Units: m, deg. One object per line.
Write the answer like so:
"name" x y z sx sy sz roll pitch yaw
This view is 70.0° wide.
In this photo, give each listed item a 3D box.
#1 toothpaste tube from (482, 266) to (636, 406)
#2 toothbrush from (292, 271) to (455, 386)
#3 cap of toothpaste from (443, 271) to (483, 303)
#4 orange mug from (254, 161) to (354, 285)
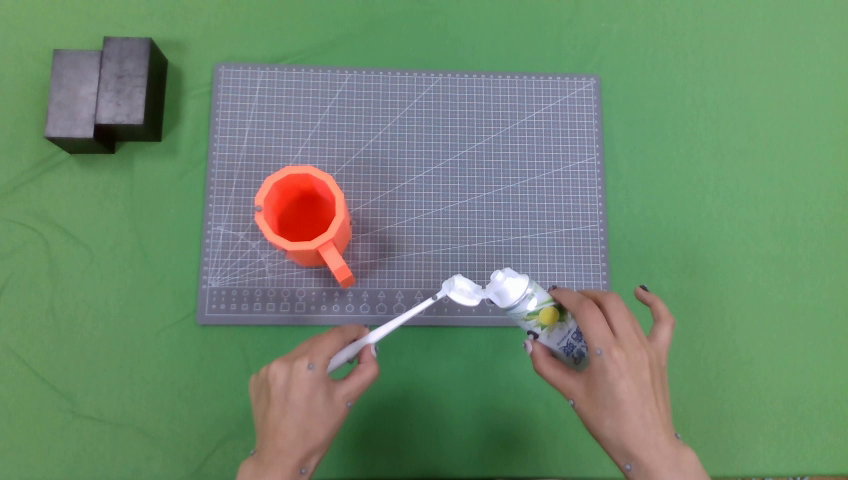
"toothpaste tube" 0.112 0.078 0.515 0.166 0.034 0.055 39 92 -17
"toothbrush" -0.040 0.079 0.552 0.182 0.016 0.014 -32 90 -9
"cap of toothpaste" 0.033 0.037 0.498 0.037 0.037 0.011 25 118 1
"orange mug" -0.113 -0.012 0.622 0.083 0.101 0.125 -33 78 -8
